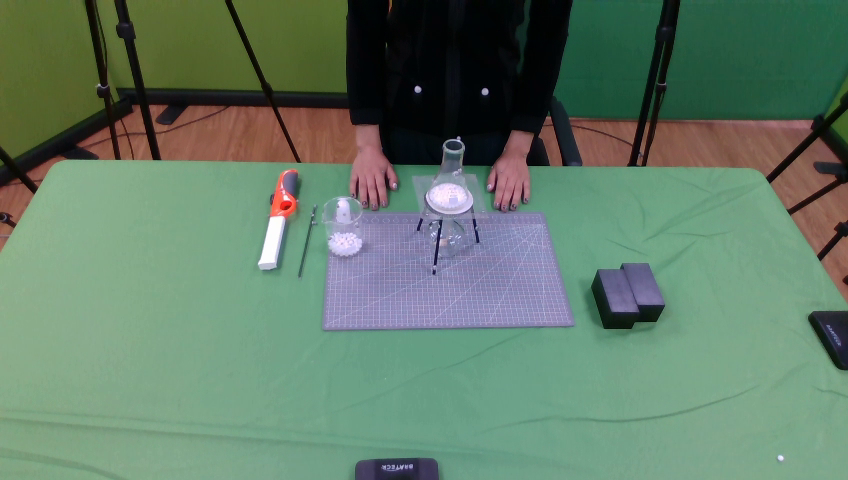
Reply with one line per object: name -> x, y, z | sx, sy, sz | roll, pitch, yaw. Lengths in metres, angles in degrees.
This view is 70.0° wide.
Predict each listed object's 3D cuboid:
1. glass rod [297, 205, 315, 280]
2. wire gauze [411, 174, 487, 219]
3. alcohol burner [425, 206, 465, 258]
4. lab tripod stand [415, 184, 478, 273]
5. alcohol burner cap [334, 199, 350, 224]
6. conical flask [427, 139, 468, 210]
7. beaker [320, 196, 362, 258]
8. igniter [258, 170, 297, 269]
glass rod -> -0.232, 0.001, 1.192 | 0.008, 0.008, 0.198 | 2, 47, -1
wire gauze -> 0.044, -0.079, 1.107 | 0.125, 0.011, 0.120 | -4, 44, -6
alcohol burner -> 0.041, -0.023, 1.158 | 0.078, 0.119, 0.077 | 3, 47, -3
lab tripod stand -> 0.041, -0.031, 1.152 | 0.148, 0.132, 0.147 | 3, 44, -3
alcohol burner cap -> -0.168, -0.061, 1.228 | 0.034, 0.048, 0.033 | 3, 46, -2
conical flask -> 0.046, -0.117, 1.061 | 0.075, 0.122, 0.075 | 3, 46, -2
beaker -> -0.156, -0.021, 1.150 | 0.084, 0.101, 0.073 | -30, 55, -28
igniter -> -0.294, -0.049, 1.221 | 0.057, 0.025, 0.274 | -5, 45, 4
